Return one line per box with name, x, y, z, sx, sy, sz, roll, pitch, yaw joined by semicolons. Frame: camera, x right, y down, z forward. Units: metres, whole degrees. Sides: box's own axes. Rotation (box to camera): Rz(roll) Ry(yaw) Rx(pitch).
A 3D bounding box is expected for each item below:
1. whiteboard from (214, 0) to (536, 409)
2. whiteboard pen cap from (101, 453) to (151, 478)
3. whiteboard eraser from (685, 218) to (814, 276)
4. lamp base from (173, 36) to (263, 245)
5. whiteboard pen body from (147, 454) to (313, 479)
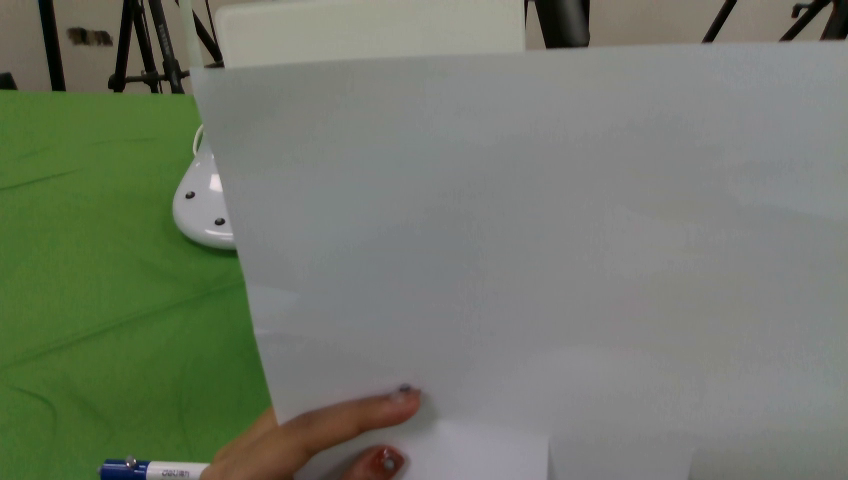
whiteboard;-0.036;-0.048;0.522;0.218;0.307;0.142;-12;23;-15
whiteboard pen cap;-0.210;0.161;0.432;0.033;0.018;0.018;2;40;-4
whiteboard eraser;0.335;0.008;0.627;0.113;0.042;0.055;-4;42;-7
lamp base;-0.207;-0.112;0.643;0.177;0.182;0.160;29;47;32
whiteboard pen body;-0.151;0.164;0.435;0.141;0.017;0.017;3;40;-2
